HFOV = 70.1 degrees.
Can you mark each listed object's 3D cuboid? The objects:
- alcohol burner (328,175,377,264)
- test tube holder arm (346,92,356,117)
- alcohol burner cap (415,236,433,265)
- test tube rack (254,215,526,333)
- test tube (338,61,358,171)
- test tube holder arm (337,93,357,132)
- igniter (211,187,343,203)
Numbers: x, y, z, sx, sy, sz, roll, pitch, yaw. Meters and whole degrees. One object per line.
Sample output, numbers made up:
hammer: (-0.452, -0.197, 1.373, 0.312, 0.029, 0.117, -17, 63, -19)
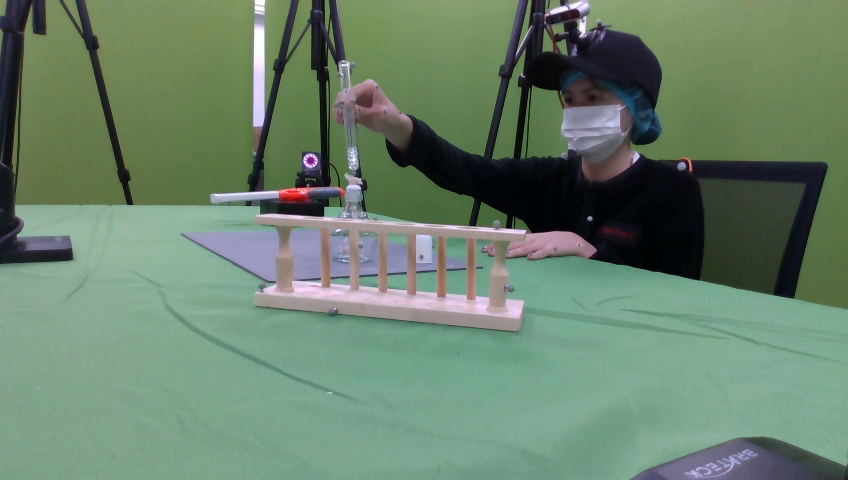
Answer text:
alcohol burner: (-0.098, -0.028, 0.819, 0.078, 0.119, 0.078, 1, 8, 0)
test tube holder arm: (-0.102, -0.187, 0.842, 0.010, 0.015, 0.087, -3, -2, -10)
alcohol burner cap: (-0.004, 0.011, 0.835, 0.034, 0.048, 0.034, 2, 7, 0)
test tube rack: (-0.030, 0.025, 0.557, 0.242, 0.085, 0.067, 4, 7, 12)
test tube: (-0.103, -0.167, 0.818, 0.017, 0.150, 0.017, -5, -5, 0)
test tube holder arm: (-0.112, -0.185, 0.886, 0.013, 0.015, 0.178, -2, -2, -2)
igniter: (-0.300, -0.095, 1.266, 0.278, 0.025, 0.057, -6, 12, -34)
